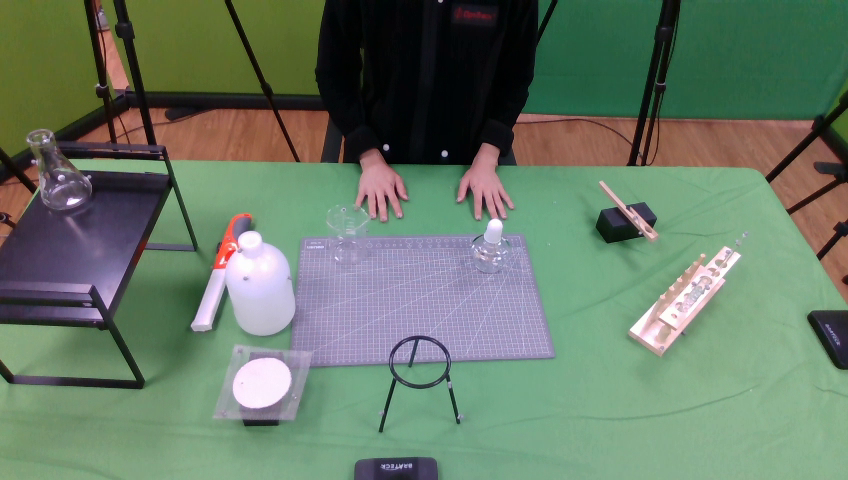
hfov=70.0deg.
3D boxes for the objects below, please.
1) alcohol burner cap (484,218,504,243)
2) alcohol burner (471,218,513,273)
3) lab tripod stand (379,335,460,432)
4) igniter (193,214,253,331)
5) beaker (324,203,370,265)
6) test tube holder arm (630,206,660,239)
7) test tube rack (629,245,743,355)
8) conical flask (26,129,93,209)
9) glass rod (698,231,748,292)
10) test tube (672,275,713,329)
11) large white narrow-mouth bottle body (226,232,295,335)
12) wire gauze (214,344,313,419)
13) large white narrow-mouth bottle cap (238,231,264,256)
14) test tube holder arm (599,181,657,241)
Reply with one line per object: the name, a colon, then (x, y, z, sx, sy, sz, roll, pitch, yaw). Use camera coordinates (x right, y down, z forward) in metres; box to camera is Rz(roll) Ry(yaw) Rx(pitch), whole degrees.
alcohol burner cap: (0.130, -0.021, 1.106, 0.034, 0.048, 0.033, 3, 51, -4)
alcohol burner: (0.128, 0.005, 1.132, 0.078, 0.120, 0.077, 0, 47, 0)
lab tripod stand: (-0.011, 0.214, 0.911, 0.148, 0.132, 0.147, 1, 45, 0)
igniter: (-0.368, 0.050, 1.119, 0.057, 0.025, 0.275, -3, 46, 8)
beaker: (-0.142, -0.009, 1.137, 0.084, 0.101, 0.073, -3, 47, -7)
test tube holder arm: (0.431, -0.034, 1.192, 0.010, 0.015, 0.087, -23, 51, -12)
test tube rack: (0.474, 0.095, 1.091, 0.242, 0.085, 0.066, -34, 56, -31)
conical flask: (-0.575, -0.113, 0.946, 0.075, 0.122, 0.075, 2, 46, -2)
glass rod: (0.514, 0.044, 1.051, 0.008, 0.200, 0.008, 1, 55, -1)
test tube: (0.438, 0.106, 1.007, 0.017, 0.151, 0.017, 4, 51, -4)
large white narrow-mouth bottle body: (-0.270, 0.065, 0.995, 0.102, 0.195, 0.101, 2, 46, -2)
wire gauze: (-0.241, 0.213, 0.916, 0.121, 0.011, 0.124, 5, 46, 1)
large white narrow-mouth bottle cap: (-0.266, 0.006, 0.932, 0.038, 0.024, 0.037, 2, 46, -2)
test tube holder arm: (0.407, -0.062, 1.219, 0.013, 0.015, 0.177, -23, 51, -13)
